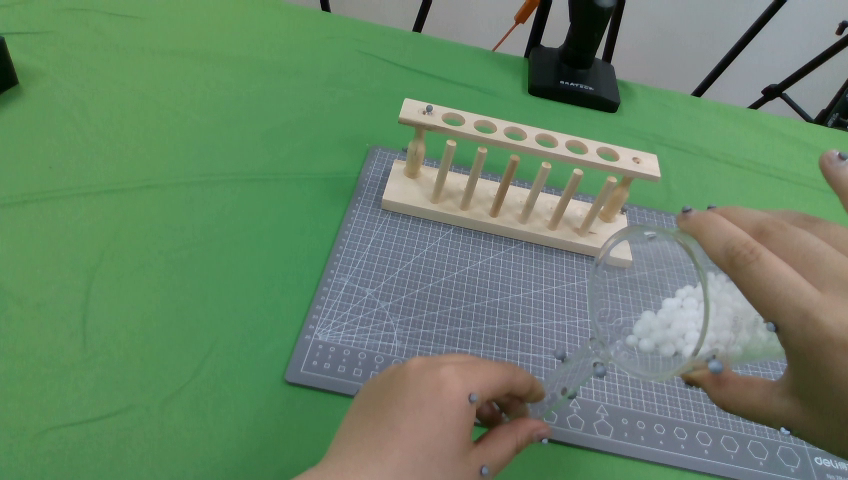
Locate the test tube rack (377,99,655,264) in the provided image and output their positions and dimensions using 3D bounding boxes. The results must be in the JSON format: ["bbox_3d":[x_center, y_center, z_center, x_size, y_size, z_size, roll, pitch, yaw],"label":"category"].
[{"bbox_3d":[0.085,-0.054,0.573,0.242,0.086,0.066,13,44,-2],"label":"test tube rack"}]

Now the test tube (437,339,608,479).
[{"bbox_3d":[0.052,0.107,0.354,0.017,0.150,0.017,26,33,-18],"label":"test tube"}]

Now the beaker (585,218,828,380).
[{"bbox_3d":[0.144,0.031,0.311,0.101,0.084,0.073,0,48,-26],"label":"beaker"}]
